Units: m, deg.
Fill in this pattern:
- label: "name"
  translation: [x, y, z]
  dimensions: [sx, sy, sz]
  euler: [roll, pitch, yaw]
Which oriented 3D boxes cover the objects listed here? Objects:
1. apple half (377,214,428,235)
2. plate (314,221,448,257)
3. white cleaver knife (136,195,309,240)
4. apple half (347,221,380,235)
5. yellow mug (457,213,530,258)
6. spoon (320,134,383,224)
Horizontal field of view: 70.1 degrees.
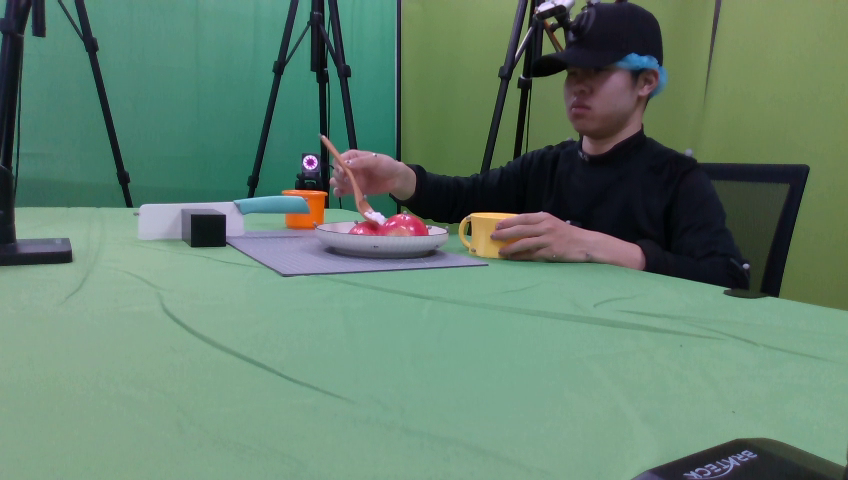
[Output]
- label: "apple half"
  translation: [-0.034, -0.013, 0.924]
  dimensions: [0.080, 0.053, 0.075]
  euler: [5, 10, 16]
- label: "plate"
  translation: [-0.066, -0.002, 0.947]
  dimensions: [0.209, 0.038, 0.209]
  euler: [3, 7, 0]
- label: "white cleaver knife"
  translation: [-0.337, -0.039, 1.037]
  dimensions: [0.288, 0.066, 0.021]
  euler: [-6, 15, -29]
- label: "apple half"
  translation: [-0.088, -0.014, 0.985]
  dimensions: [0.081, 0.033, 0.081]
  euler: [5, 6, 0]
- label: "yellow mug"
  translation: [0.109, -0.011, 0.992]
  dimensions: [0.130, 0.064, 0.100]
  euler: [6, 7, 36]
- label: "spoon"
  translation: [-0.121, -0.101, 0.986]
  dimensions: [0.021, 0.193, 0.042]
  euler: [-39, -20, 27]
